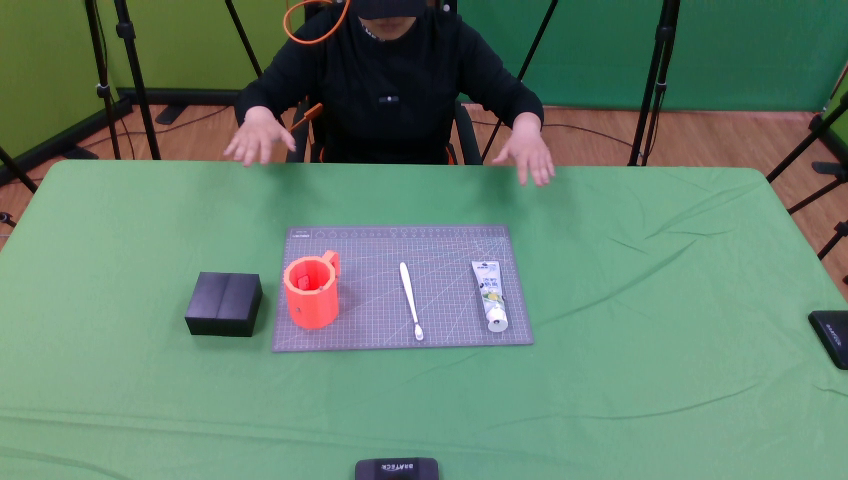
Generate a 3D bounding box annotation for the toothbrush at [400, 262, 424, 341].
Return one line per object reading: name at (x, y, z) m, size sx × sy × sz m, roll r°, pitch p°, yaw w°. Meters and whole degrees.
toothbrush at (-0.025, 0.106, 1.093) m, size 0.014 × 0.017 × 0.180 m, roll -18°, pitch 46°, yaw 2°

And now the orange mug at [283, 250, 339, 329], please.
orange mug at (-0.186, 0.078, 1.052) m, size 0.083 × 0.101 × 0.126 m, roll 20°, pitch 52°, yaw 15°

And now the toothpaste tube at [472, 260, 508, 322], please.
toothpaste tube at (0.126, 0.094, 1.109) m, size 0.055 × 0.034 × 0.164 m, roll 3°, pitch 41°, yaw -9°

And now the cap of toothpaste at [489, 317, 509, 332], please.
cap of toothpaste at (0.130, 0.146, 1.050) m, size 0.037 × 0.037 × 0.011 m, roll -2°, pitch 42°, yaw -5°
